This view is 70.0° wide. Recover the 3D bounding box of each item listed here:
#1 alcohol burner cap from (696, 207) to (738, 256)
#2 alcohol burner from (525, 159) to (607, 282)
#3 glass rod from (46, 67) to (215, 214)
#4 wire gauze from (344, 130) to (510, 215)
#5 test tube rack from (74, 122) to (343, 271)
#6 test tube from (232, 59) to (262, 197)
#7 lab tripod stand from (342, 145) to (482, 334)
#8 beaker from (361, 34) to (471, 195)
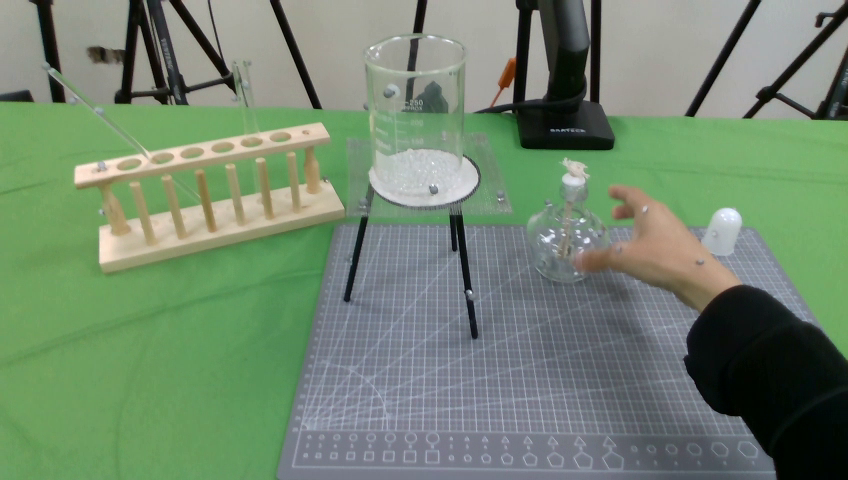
[{"bbox_3d":[0.298,-0.011,0.612,0.034,0.048,0.033,0,38,0],"label":"alcohol burner cap"},{"bbox_3d":[0.133,-0.021,0.564,0.078,0.120,0.077,-1,37,1],"label":"alcohol burner"},{"bbox_3d":[-0.271,-0.086,0.578,0.008,0.202,0.008,-19,45,21],"label":"glass rod"},{"bbox_3d":[-0.003,-0.054,0.482,0.125,0.011,0.120,-5,36,-2],"label":"wire gauze"},{"bbox_3d":[-0.212,-0.049,0.623,0.243,0.086,0.066,-14,40,-18],"label":"test tube rack"},{"bbox_3d":[-0.177,-0.110,0.620,0.017,0.151,0.017,1,35,-1],"label":"test tube"},{"bbox_3d":[-0.003,-0.003,0.523,0.148,0.132,0.147,0,40,1],"label":"lab tripod stand"},{"bbox_3d":[-0.009,-0.092,0.451,0.083,0.101,0.074,21,42,25],"label":"beaker"}]
